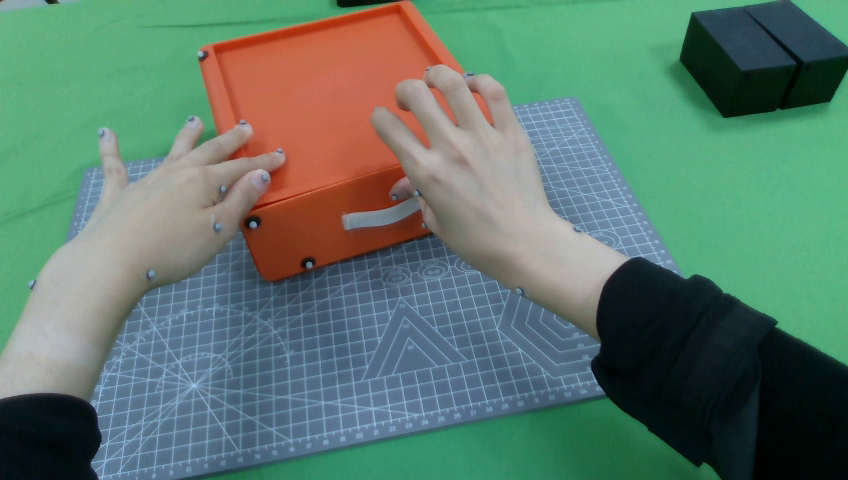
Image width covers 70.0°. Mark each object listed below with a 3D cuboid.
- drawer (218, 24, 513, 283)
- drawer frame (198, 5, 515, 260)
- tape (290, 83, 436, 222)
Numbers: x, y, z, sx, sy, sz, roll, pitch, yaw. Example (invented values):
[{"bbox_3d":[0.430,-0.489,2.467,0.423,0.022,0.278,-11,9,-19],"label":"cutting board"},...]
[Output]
[{"bbox_3d":[-0.061,-0.085,0.493,0.195,0.074,0.209,-18,49,-11],"label":"drawer"},{"bbox_3d":[-0.063,-0.091,0.497,0.202,0.083,0.211,-18,49,-12],"label":"drawer frame"},{"bbox_3d":[-0.049,-0.073,0.487,0.117,0.053,0.115,-1,49,2],"label":"tape"}]
